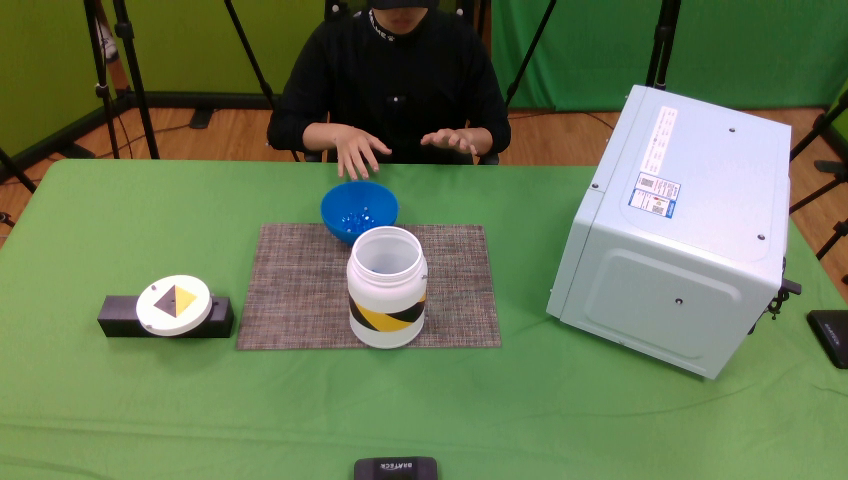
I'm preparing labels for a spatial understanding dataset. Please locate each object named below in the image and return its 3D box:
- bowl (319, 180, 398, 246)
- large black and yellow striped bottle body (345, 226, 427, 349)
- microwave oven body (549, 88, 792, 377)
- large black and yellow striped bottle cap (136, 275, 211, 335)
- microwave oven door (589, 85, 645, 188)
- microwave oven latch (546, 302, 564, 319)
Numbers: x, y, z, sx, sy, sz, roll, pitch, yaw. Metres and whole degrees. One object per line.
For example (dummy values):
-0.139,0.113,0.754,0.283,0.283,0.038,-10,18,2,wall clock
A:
-0.126,-0.039,1.180,0.151,0.077,0.150,3,46,-2,bowl
-0.062,0.078,0.998,0.131,0.185,0.130,2,46,-2,large black and yellow striped bottle body
0.456,-0.028,1.088,0.325,0.261,0.440,20,47,16,microwave oven body
-0.412,0.105,0.998,0.115,0.019,0.114,3,46,-3,large black and yellow striped bottle cap
0.342,-0.107,1.149,0.039,0.245,0.354,20,48,15,microwave oven door
0.242,0.102,1.081,0.030,0.029,0.079,21,48,17,microwave oven latch
